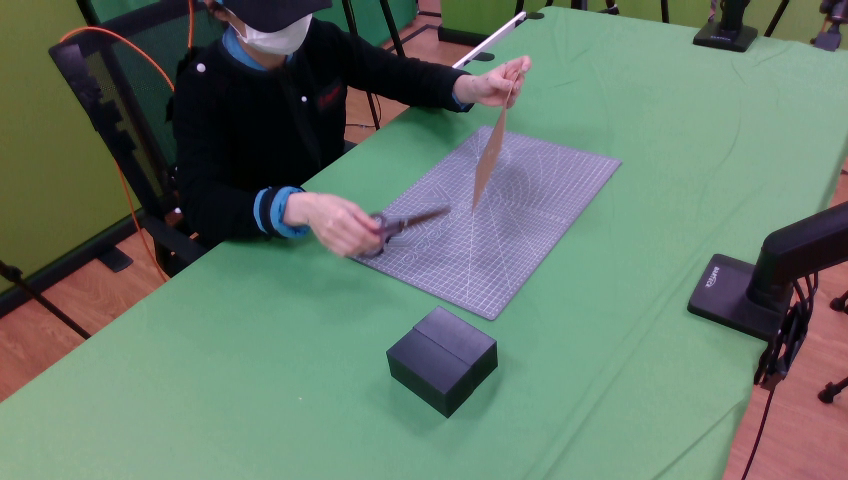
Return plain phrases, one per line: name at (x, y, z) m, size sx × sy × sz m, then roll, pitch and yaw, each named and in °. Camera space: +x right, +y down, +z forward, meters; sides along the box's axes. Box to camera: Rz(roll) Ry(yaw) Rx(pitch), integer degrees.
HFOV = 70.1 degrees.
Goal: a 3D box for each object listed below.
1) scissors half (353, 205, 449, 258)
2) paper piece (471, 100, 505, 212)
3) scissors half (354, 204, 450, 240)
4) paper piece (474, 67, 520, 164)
scissors half at (-0.035, -0.013, 0.875) m, size 0.174 × 0.013 × 0.040 m, roll -27°, pitch 46°, yaw 26°
paper piece at (0.097, -0.128, 0.927) m, size 0.004 × 0.135 × 0.135 m, roll 17°, pitch 42°, yaw -5°
scissors half at (-0.035, -0.030, 0.886) m, size 0.174 × 0.013 × 0.040 m, roll -13°, pitch 59°, yaw 34°
paper piece at (0.126, -0.212, 1.027) m, size 0.008 × 0.136 × 0.138 m, roll 26°, pitch 42°, yaw 1°
